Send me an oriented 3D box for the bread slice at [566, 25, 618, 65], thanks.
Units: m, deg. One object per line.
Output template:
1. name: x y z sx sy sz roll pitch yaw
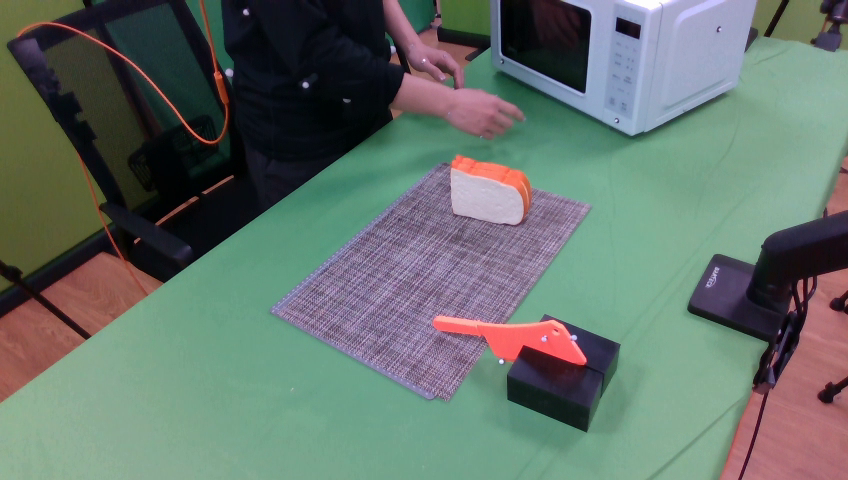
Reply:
1. bread slice: 0.362 -0.427 1.324 0.107 0.018 0.133 0 51 6

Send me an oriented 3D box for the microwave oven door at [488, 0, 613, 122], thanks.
1. microwave oven door: 0.250 -0.412 1.219 0.039 0.245 0.352 -27 44 -21

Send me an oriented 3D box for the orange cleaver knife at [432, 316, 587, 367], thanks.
1. orange cleaver knife: 0.101 0.127 0.761 0.210 0.077 0.012 -1 34 40

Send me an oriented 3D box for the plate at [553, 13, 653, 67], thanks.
1. plate: 0.385 -0.428 1.312 0.207 0.039 0.206 -3 45 4

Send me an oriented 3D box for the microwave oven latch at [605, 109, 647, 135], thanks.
1. microwave oven latch: 0.378 -0.225 1.139 0.030 0.029 0.078 -26 43 -19

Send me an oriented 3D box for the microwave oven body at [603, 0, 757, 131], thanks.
1. microwave oven body: 0.396 -0.448 1.248 0.327 0.261 0.437 -27 44 -21
